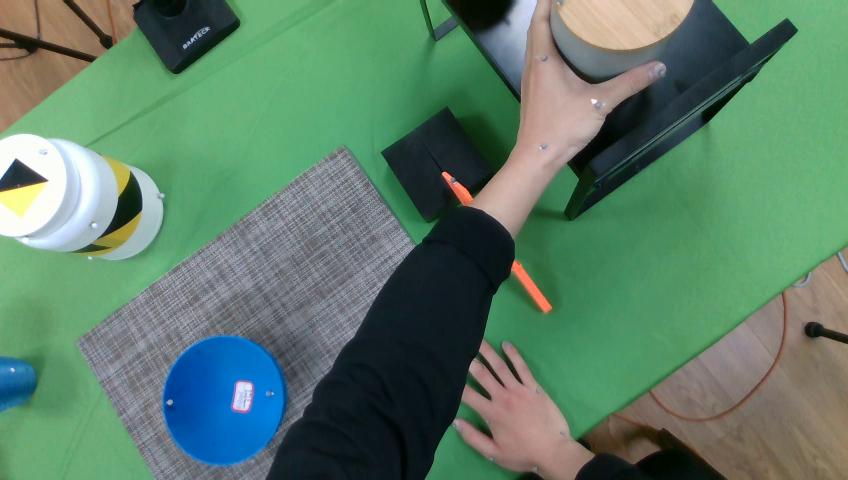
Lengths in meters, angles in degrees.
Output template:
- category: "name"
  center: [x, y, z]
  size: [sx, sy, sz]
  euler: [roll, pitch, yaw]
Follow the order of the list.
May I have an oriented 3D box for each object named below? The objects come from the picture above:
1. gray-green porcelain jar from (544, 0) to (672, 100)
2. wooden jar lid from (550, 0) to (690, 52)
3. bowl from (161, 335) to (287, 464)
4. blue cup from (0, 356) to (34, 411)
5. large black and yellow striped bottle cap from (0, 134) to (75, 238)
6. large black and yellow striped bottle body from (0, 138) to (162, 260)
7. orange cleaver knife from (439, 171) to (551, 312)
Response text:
- category: "gray-green porcelain jar"
  center: [0.160, -0.189, 0.533]
  size: [0.106, 0.127, 0.105]
  euler: [-1, 83, 8]
- category: "wooden jar lid"
  center: [0.152, -0.197, 0.472]
  size: [0.108, 0.021, 0.108]
  euler: [-1, 85, 10]
- category: "bowl"
  center: [-0.232, 0.190, 0.745]
  size: [0.151, 0.077, 0.151]
  euler: [-1, 83, 7]
- category: "blue cup"
  center: [-0.565, 0.187, 0.780]
  size: [0.092, 0.100, 0.092]
  euler: [-1, 83, 5]
- category: "large black and yellow striped bottle cap"
  center: [-0.441, -0.059, 0.664]
  size: [0.115, 0.019, 0.114]
  euler: [-1, 85, 8]
- category: "large black and yellow striped bottle body"
  center: [-0.431, -0.048, 0.747]
  size: [0.130, 0.184, 0.130]
  euler: [-1, 83, 7]
- category: "orange cleaver knife"
  center: [0.085, 0.003, 0.726]
  size: [0.012, 0.076, 0.213]
  euler: [-39, 110, -2]
